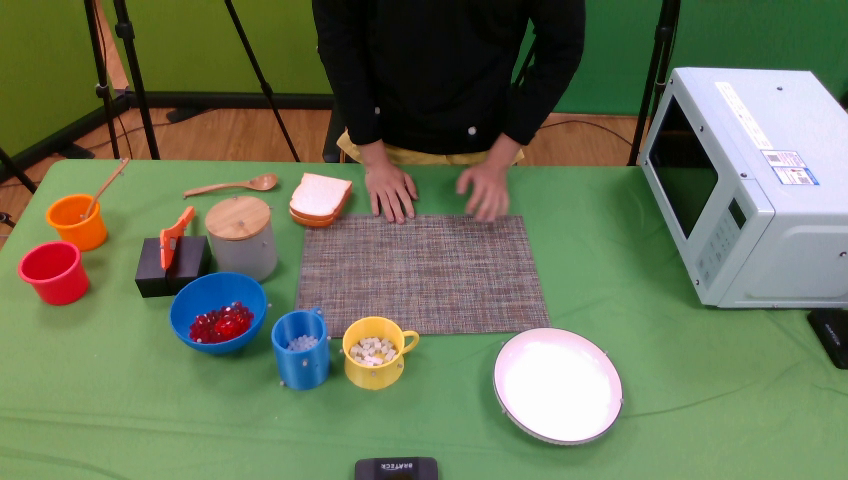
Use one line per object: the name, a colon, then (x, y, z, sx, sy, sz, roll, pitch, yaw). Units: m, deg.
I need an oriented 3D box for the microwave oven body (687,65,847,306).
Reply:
microwave oven body: (0.669, -0.111, 1.176, 0.326, 0.261, 0.439, 0, 46, -3)

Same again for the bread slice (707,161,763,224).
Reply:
bread slice: (0.651, -0.104, 1.262, 0.105, 0.019, 0.131, 12, 70, 10)

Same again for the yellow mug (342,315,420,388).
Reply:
yellow mug: (-0.068, 0.177, 0.990, 0.131, 0.064, 0.099, -16, 50, -19)

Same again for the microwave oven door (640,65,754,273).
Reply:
microwave oven door: (0.523, -0.147, 1.193, 0.039, 0.245, 0.353, 0, 47, -3)

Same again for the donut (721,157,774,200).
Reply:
donut: (0.648, -0.123, 1.215, 0.099, 0.048, 0.098, -3, 55, 5)

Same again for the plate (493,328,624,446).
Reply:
plate: (0.213, 0.236, 0.974, 0.208, 0.039, 0.206, 2, 46, -2)

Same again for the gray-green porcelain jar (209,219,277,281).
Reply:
gray-green porcelain jar: (-0.323, 0.007, 1.092, 0.106, 0.127, 0.105, 2, 46, -2)

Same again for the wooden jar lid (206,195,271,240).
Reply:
wooden jar lid: (-0.319, -0.036, 1.046, 0.108, 0.021, 0.107, 1, 44, 0)

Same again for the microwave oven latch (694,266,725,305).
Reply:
microwave oven latch: (0.523, 0.082, 1.115, 0.030, 0.029, 0.078, 3, 46, 0)

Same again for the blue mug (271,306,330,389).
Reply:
blue mug: (-0.188, 0.163, 0.969, 0.082, 0.106, 0.116, 15, 47, 10)

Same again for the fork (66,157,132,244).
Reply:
fork: (-0.608, -0.074, 1.132, 0.207, 0.019, 0.028, -52, 48, 10)

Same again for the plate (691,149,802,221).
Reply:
plate: (0.652, -0.108, 1.238, 0.209, 0.038, 0.208, -1, 46, 1)

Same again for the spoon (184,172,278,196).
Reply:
spoon: (-0.405, -0.116, 1.275, 0.194, 0.022, 0.041, -8, 64, -12)

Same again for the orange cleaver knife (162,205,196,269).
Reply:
orange cleaver knife: (-0.454, -0.010, 1.129, 0.012, 0.077, 0.210, -1, 20, -5)

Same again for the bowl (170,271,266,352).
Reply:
bowl: (-0.333, 0.132, 1.006, 0.151, 0.077, 0.150, 2, 46, -2)

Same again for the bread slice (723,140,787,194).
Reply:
bread slice: (0.661, -0.147, 1.200, 0.107, 0.018, 0.133, 0, 54, 9)
